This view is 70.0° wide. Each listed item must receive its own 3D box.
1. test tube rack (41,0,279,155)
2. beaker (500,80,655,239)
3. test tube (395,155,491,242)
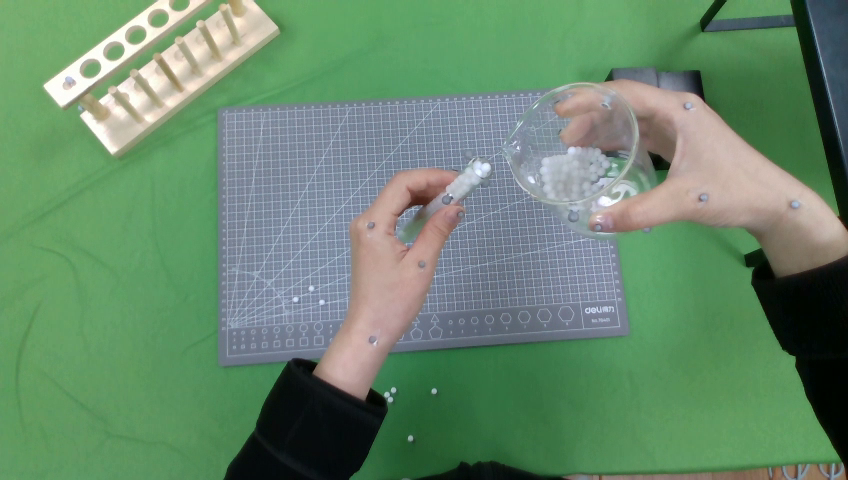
[{"bbox_3d":[-0.288,-0.208,0.684,0.242,0.085,0.066,-41,81,-9],"label":"test tube rack"},{"bbox_3d":[0.103,-0.044,0.387,0.083,0.101,0.074,6,79,29],"label":"beaker"},{"bbox_3d":[0.008,-0.025,0.440,0.017,0.150,0.017,7,71,-20],"label":"test tube"}]
